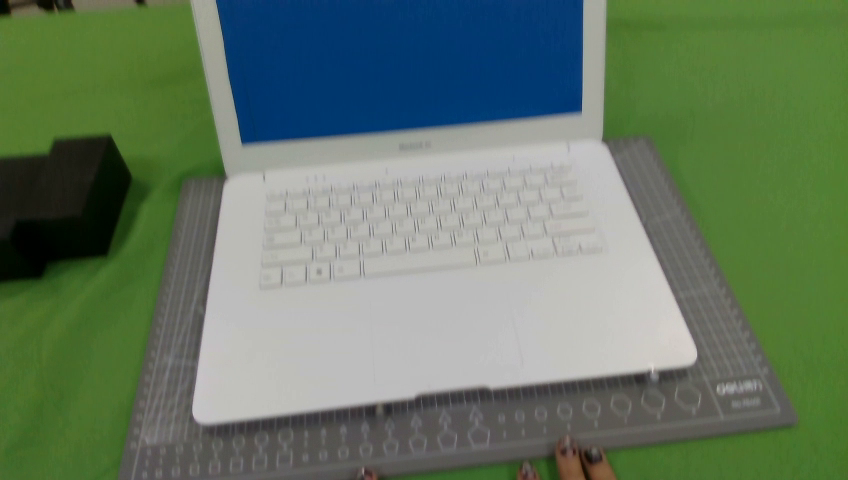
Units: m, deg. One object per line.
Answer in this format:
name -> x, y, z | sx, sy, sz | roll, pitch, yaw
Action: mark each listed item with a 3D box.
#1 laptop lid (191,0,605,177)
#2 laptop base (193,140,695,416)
laptop lid -> -0.016, -0.180, 0.526 | 0.357, 0.243, 0.013 | -7, 21, -3
laptop base -> 0.006, 0.016, 0.492 | 0.355, 0.023, 0.233 | -6, 52, -3
